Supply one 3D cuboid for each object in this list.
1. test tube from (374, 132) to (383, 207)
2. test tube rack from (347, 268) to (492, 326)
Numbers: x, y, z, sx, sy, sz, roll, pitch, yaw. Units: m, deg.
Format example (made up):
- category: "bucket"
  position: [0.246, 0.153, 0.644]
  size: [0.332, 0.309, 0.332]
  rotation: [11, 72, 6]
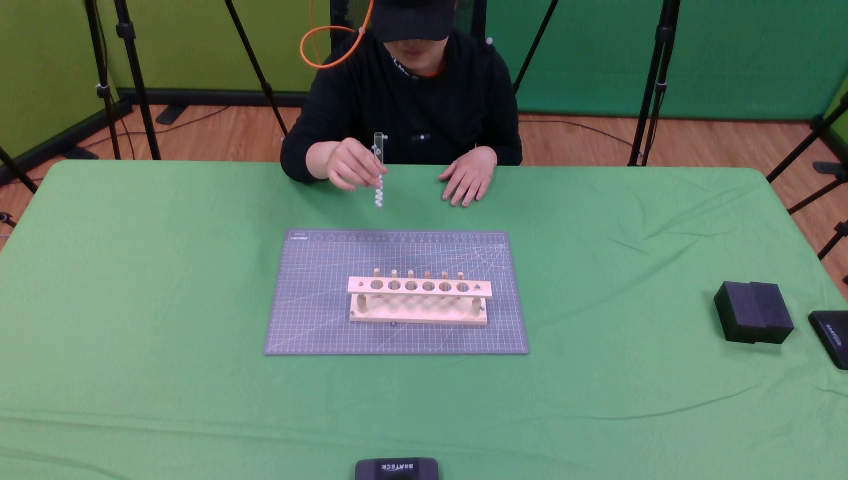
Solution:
- category: "test tube"
  position: [-0.078, -0.117, 1.035]
  size: [0.017, 0.151, 0.017]
  rotation: [2, 40, -2]
- category: "test tube rack"
  position: [-0.009, 0.095, 1.059]
  size: [0.242, 0.085, 0.066]
  rotation: [2, 46, -2]
